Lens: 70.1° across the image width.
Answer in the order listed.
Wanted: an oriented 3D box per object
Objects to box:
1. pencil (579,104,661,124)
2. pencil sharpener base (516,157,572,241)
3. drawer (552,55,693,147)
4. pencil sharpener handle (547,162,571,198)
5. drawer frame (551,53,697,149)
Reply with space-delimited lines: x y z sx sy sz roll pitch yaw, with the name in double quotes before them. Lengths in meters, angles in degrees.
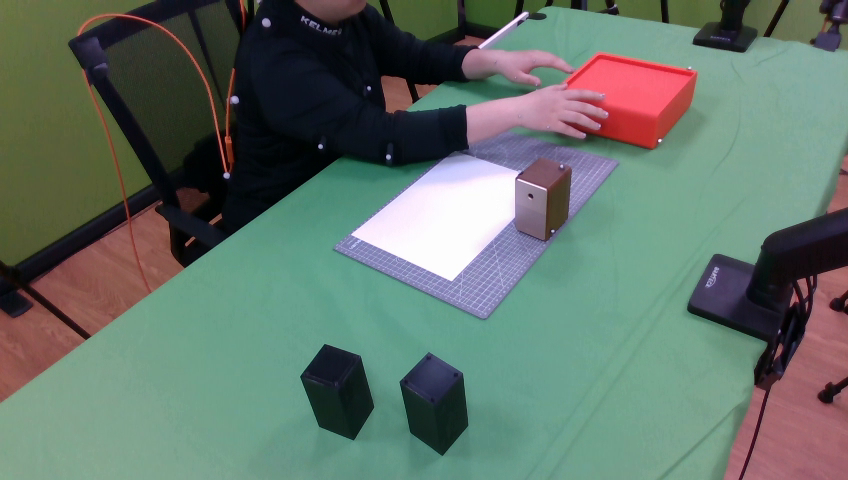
"pencil" 0.395 -0.255 1.212 0.195 0.012 0.012 -14 40 -17
"pencil sharpener base" 0.189 -0.065 0.948 0.061 0.107 0.077 24 49 33
"drawer" 0.389 -0.279 1.196 0.210 0.073 0.195 24 49 31
"pencil sharpener handle" 0.222 -0.101 0.967 0.035 0.068 0.031 18 46 38
"drawer frame" 0.391 -0.280 1.194 0.212 0.083 0.202 23 48 30
